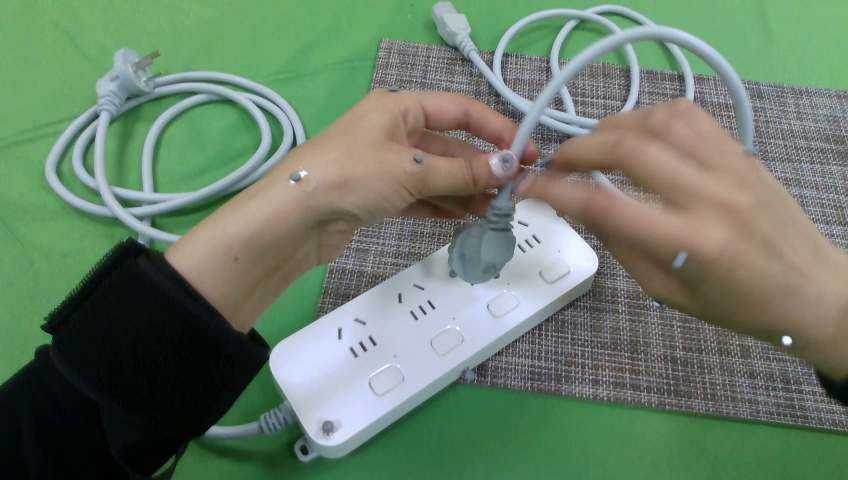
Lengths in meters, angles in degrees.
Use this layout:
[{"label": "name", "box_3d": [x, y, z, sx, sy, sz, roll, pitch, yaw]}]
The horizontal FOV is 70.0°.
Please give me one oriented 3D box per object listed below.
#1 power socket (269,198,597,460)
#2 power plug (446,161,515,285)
[{"label": "power socket", "box_3d": [0.011, 0.047, 0.375, 0.227, 0.033, 0.071, -30, 63, -19]}, {"label": "power plug", "box_3d": [0.037, -0.008, 0.346, 0.035, 0.052, 0.072, 17, 99, -24]}]
